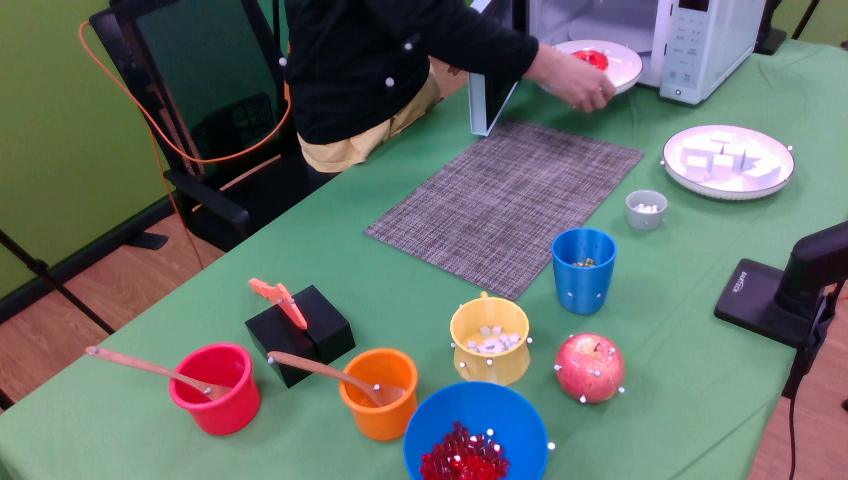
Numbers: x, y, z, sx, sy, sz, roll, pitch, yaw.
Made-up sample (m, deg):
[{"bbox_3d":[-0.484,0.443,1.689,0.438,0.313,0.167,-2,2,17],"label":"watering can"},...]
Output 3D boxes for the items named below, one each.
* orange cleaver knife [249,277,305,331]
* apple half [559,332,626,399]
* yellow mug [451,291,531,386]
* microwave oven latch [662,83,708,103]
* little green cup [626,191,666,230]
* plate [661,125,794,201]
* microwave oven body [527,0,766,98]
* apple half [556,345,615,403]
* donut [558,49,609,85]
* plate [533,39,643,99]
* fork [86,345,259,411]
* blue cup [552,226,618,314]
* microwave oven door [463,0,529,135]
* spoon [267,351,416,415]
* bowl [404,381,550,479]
[{"bbox_3d":[-0.210,0.088,0.855,0.012,0.077,0.210,-28,15,-25],"label":"orange cleaver knife"},{"bbox_3d":[0.209,0.147,0.730,0.080,0.075,0.053,26,48,38],"label":"apple half"},{"bbox_3d":[0.086,0.120,0.786,0.100,0.064,0.130,-7,39,1],"label":"yellow mug"},{"bbox_3d":[0.519,-0.297,1.204,0.030,0.029,0.078,-36,47,-29],"label":"microwave oven latch"},{"bbox_3d":[0.352,-0.046,0.963,0.061,0.039,0.061,-4,40,4],"label":"little green cup"},{"bbox_3d":[0.513,-0.128,1.035,0.207,0.039,0.206,-4,40,4],"label":"plate"},{"bbox_3d":[0.472,-0.513,1.317,0.438,0.261,0.327,26,51,34],"label":"microwave oven body"},{"bbox_3d":[0.181,0.167,0.709,0.080,0.081,0.033,29,50,35],"label":"apple half"},{"bbox_3d":[0.310,-0.339,1.177,0.099,0.048,0.098,-5,41,5],"label":"donut"},{"bbox_3d":[0.318,-0.330,1.184,0.209,0.038,0.208,-4,43,4],"label":"plate"},{"bbox_3d":[-0.298,0.167,0.728,0.209,0.018,0.028,29,47,-23],"label":"fork"},{"bbox_3d":[0.218,0.047,0.825,0.092,0.101,0.092,-6,40,5],"label":"blue cup"},{"bbox_3d":[0.156,-0.410,1.236,0.039,0.245,0.355,10,43,19],"label":"microwave oven door"},{"bbox_3d":[-0.091,0.162,0.699,0.021,0.195,0.041,-45,30,26],"label":"spoon"},{"bbox_3d":[0.058,0.235,0.645,0.151,0.077,0.150,-4,39,4],"label":"bowl"}]
